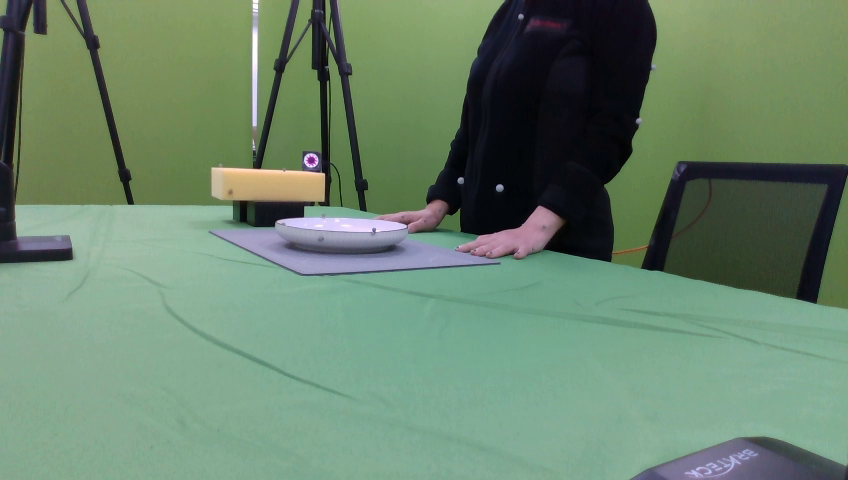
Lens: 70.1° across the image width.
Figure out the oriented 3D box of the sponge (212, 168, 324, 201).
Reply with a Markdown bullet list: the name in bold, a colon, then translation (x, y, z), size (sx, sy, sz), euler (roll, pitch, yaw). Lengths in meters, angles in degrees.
- **sponge**: translation (-0.325, -0.115, 1.259), size (0.208, 0.061, 0.117), euler (-2, 8, -30)

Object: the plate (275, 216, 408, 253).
- **plate**: translation (-0.129, -0.009, 0.954), size (0.209, 0.038, 0.209), euler (2, 7, 0)
